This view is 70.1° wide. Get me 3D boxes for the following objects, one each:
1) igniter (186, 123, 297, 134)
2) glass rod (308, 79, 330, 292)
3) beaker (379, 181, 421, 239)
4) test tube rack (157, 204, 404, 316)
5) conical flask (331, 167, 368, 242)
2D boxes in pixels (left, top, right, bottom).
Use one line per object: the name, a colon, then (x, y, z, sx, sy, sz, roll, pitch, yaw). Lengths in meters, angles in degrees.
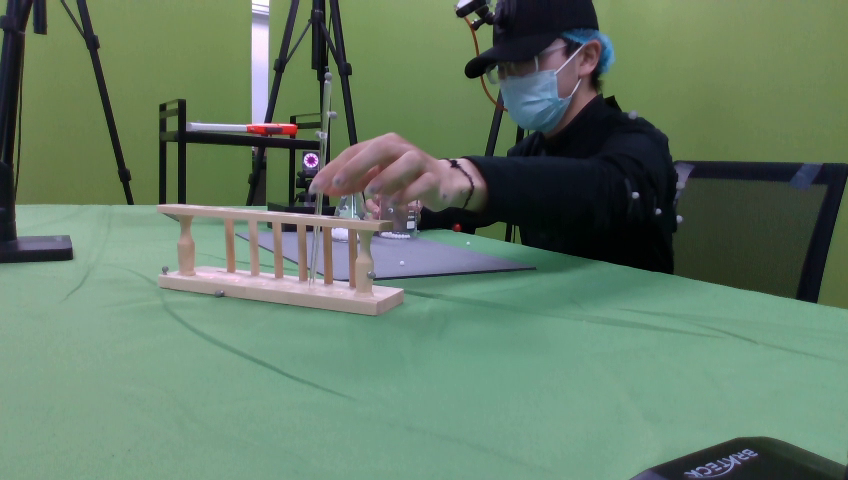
igniter: (-0.392, -0.247, 1.341, 0.057, 0.025, 0.278, 9, 14, 38)
glass rod: (-0.097, -0.047, 0.560, 0.008, 0.199, 0.008, 6, 10, -1)
beaker: (-0.047, -0.055, 1.087, 0.073, 0.100, 0.084, 7, 9, 31)
test tube rack: (-0.143, 0.013, 0.598, 0.242, 0.085, 0.067, 5, 8, 19)
conical flask: (-0.123, -0.061, 1.019, 0.075, 0.122, 0.075, 2, 7, 0)
